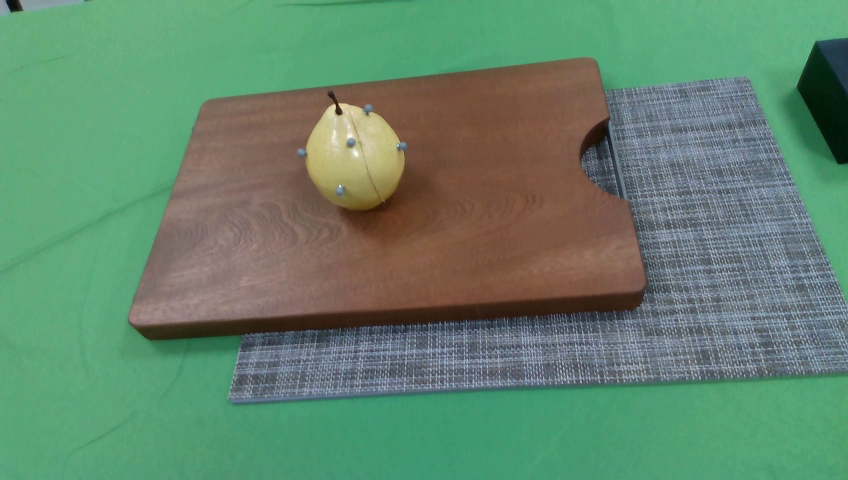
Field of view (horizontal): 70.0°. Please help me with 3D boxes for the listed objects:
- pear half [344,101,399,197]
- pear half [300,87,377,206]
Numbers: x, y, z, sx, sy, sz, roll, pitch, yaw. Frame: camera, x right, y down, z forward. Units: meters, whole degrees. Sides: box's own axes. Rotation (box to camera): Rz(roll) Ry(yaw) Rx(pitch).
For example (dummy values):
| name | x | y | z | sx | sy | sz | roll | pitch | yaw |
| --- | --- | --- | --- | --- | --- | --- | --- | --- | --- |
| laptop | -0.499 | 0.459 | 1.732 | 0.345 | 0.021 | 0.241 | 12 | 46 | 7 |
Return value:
| name | x | y | z | sx | sy | sz | roll | pitch | yaw |
| --- | --- | --- | --- | --- | --- | --- | --- | --- | --- |
| pear half | -0.038 | -0.078 | 0.488 | 0.031 | 0.089 | 0.069 | -17 | 50 | -3 |
| pear half | -0.074 | -0.075 | 0.480 | 0.056 | 0.111 | 0.075 | -18 | 50 | -2 |
